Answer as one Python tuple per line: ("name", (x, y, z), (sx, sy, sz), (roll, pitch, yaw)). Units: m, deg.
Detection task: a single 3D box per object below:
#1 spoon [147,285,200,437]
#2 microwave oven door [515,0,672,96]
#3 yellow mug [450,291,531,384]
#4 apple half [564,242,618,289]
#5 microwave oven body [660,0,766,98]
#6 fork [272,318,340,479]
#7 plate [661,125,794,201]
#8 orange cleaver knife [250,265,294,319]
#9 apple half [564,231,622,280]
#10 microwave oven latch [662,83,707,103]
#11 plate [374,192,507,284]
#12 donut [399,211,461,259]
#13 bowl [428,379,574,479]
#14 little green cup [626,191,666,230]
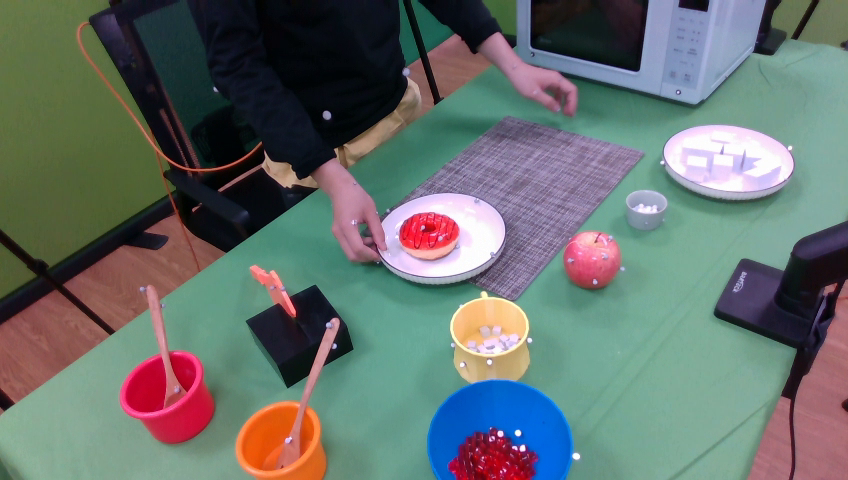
("spoon", (-0.318, 0.148, 0.754), (0.042, 0.021, 0.193), (-15, 85, -10))
("microwave oven door", (0.344, -0.455, 1.259), (0.353, 0.245, 0.039), (26, 51, 33))
("yellow mug", (0.085, 0.120, 0.786), (0.100, 0.064, 0.130), (-7, 39, 1))
("apple half", (0.229, 0.044, 0.848), (0.081, 0.081, 0.033), (16, 41, 26))
("microwave oven body", (0.472, -0.513, 1.317), (0.438, 0.261, 0.327), (26, 51, 34))
("fork", (-0.131, 0.186, 0.676), (0.028, 0.019, 0.207), (18, 90, 28))
("plate", (0.513, -0.128, 1.035), (0.207, 0.039, 0.206), (-4, 40, 4))
("orange cleaver knife", (-0.221, 0.073, 0.876), (0.012, 0.077, 0.210), (-24, 13, -22))
("apple half", (0.248, 0.021, 0.874), (0.080, 0.075, 0.053), (13, 40, 28))
("microwave oven latch", (0.517, -0.296, 1.204), (0.078, 0.029, 0.030), (27, 52, 35))
("plate", (0.027, 0.000, 0.952), (0.209, 0.038, 0.208), (-4, 40, 4))
("donut", (0.009, -0.008, 0.948), (0.099, 0.048, 0.098), (-4, 39, 4))
("bowl", (0.082, 0.233, 0.644), (0.151, 0.077, 0.150), (-4, 40, 4))
("little green cup", (0.352, -0.046, 0.963), (0.061, 0.039, 0.061), (-4, 40, 4))
